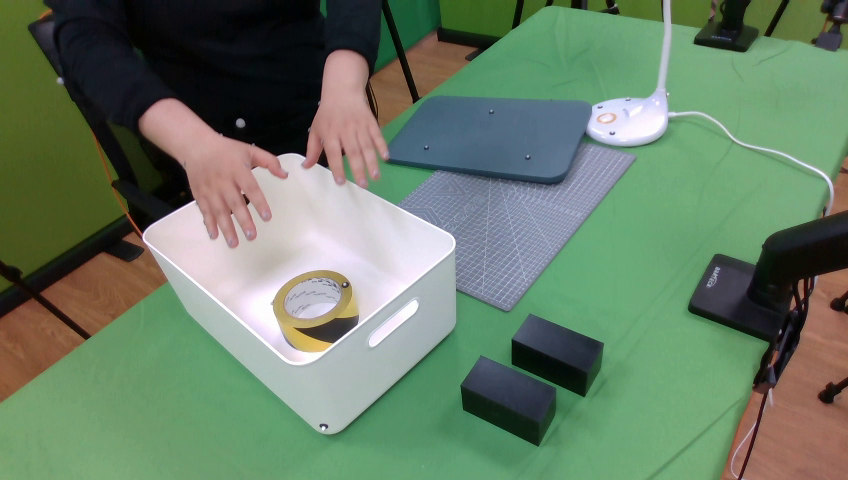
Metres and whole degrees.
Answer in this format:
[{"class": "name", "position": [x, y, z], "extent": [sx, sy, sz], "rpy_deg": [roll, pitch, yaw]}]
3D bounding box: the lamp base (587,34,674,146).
[{"class": "lamp base", "position": [0.392, -0.291, 1.129], "extent": [0.180, 0.181, 0.159], "rpy_deg": [-11, 41, -8]}]

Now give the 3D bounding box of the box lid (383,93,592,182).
[{"class": "box lid", "position": [0.128, -0.211, 1.193], "extent": [0.369, 0.015, 0.263], "rpy_deg": [9, 45, 22]}]

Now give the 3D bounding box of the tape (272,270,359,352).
[{"class": "tape", "position": [-0.150, 0.098, 0.844], "extent": [0.117, 0.053, 0.116], "rpy_deg": [-4, 41, 4]}]

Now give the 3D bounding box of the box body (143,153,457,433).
[{"class": "box body", "position": [-0.158, 0.054, 0.819], "extent": [0.361, 0.161, 0.255], "rpy_deg": [29, 52, 34]}]
